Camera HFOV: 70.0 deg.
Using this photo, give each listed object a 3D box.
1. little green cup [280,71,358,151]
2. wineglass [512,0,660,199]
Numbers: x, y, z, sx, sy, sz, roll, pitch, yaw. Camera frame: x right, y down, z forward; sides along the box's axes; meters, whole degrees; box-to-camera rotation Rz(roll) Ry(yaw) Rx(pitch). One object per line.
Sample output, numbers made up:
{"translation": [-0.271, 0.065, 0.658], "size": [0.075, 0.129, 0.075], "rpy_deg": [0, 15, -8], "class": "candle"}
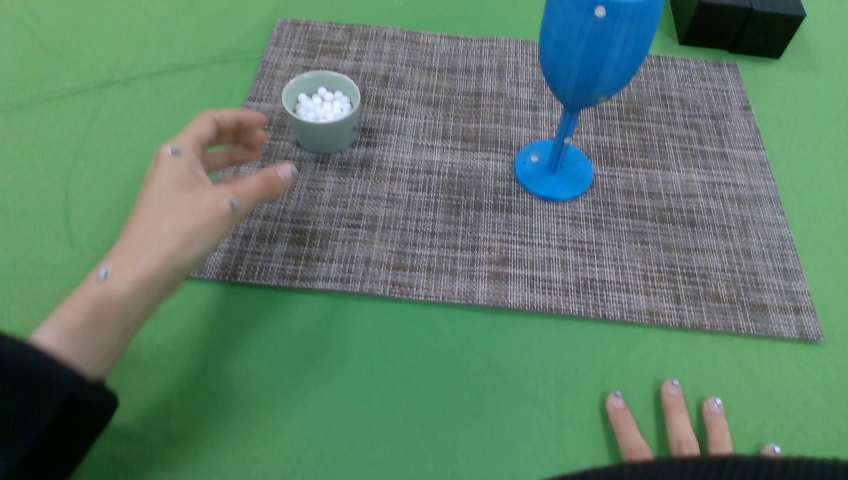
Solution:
{"translation": [-0.084, -0.104, 0.494], "size": [0.061, 0.039, 0.061], "rpy_deg": [2, 54, -2], "class": "little green cup"}
{"translation": [0.107, -0.109, 0.426], "size": [0.074, 0.173, 0.073], "rpy_deg": [1, 54, -2], "class": "wineglass"}
